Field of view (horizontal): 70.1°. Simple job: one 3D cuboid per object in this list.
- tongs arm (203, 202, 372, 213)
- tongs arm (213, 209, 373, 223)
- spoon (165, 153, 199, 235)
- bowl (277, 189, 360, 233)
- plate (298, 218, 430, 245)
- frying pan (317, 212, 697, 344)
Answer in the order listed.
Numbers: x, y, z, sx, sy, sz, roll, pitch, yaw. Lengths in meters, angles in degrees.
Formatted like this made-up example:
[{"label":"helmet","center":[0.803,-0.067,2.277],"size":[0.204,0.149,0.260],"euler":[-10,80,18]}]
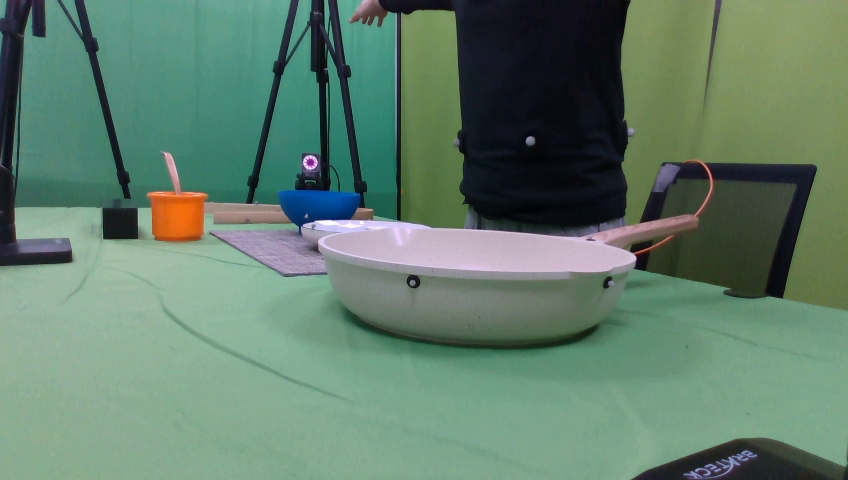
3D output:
[{"label":"tongs arm","center":[-0.312,-0.069,1.418],"size":[0.387,0.026,0.050],"euler":[0,8,-24]},{"label":"tongs arm","center":[-0.274,-0.054,1.348],"size":[0.390,0.028,0.028],"euler":[-3,6,-37]},{"label":"spoon","center":[-0.417,-0.081,1.027],"size":[0.042,0.193,0.021],"euler":[1,-37,-37]},{"label":"bowl","center":[-0.195,-0.052,1.118],"size":[0.151,0.077,0.151],"euler":[2,7,0]},{"label":"plate","center":[-0.091,-0.006,0.949],"size":[0.208,0.039,0.207],"euler":[2,7,0]},{"label":"frying pan","center":[0.133,0.013,0.630],"size":[0.490,0.102,0.305],"euler":[-12,14,-31]}]
